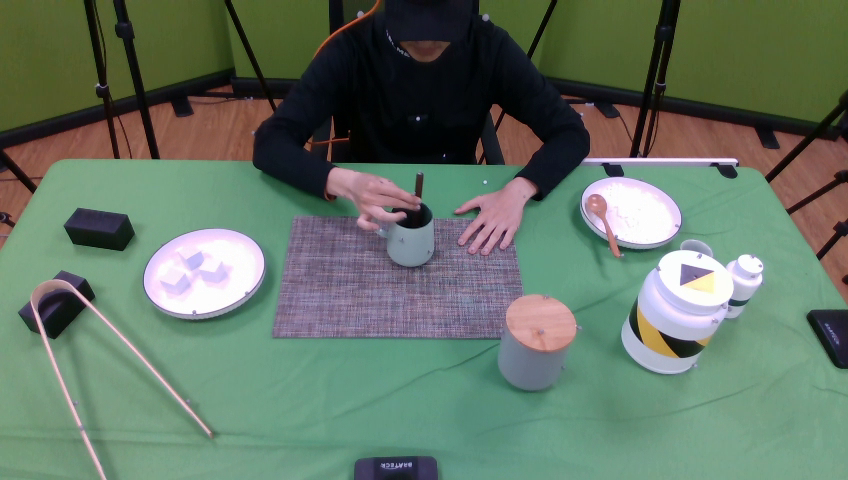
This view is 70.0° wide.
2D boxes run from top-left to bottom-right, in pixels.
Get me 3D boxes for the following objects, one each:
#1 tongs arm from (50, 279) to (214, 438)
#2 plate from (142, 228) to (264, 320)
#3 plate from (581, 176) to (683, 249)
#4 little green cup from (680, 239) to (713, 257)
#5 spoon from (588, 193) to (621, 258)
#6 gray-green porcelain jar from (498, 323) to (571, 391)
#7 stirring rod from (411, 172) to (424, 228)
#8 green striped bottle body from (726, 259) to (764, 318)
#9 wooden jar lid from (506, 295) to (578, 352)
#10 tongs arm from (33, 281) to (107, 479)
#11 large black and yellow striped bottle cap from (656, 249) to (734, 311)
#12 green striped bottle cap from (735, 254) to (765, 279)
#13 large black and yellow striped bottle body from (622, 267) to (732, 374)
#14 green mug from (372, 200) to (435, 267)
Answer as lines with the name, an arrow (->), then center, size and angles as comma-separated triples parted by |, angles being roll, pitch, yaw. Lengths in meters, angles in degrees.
tongs arm -> -0.459, 0.178, 0.949 | 0.386, 0.028, 0.028 | 37, 60, 17
plate -> -0.394, 0.064, 1.095 | 0.208, 0.039, 0.206 | 2, 46, -2
plate -> 0.430, -0.054, 1.267 | 0.209, 0.038, 0.208 | 2, 46, -2
little green cup -> 0.530, 0.033, 1.189 | 0.061, 0.039, 0.061 | 3, 48, -3
spoon -> 0.367, -0.032, 1.220 | 0.041, 0.022, 0.192 | 1, 38, -1
gray-green porcelain jar -> 0.176, 0.172, 0.971 | 0.106, 0.127, 0.105 | 2, 46, -2
stirring rod -> -0.013, -0.063, 1.121 | 0.014, 0.177, 0.006 | -8, 53, -12
green striped bottle body -> 0.563, 0.081, 1.089 | 0.063, 0.120, 0.063 | 2, 46, -2
wooden jar lid -> 0.179, 0.130, 0.925 | 0.108, 0.021, 0.107 | 2, 43, -2
tongs arm -> -0.517, 0.214, 0.910 | 0.051, 0.026, 0.383 | -28, 63, -27
large black and yellow striped bottle cap -> 0.419, 0.061, 0.938 | 0.115, 0.019, 0.114 | 2, 47, -2
green striped bottle cap -> 0.566, 0.046, 1.051 | 0.044, 0.020, 0.044 | 0, 45, 0
large black and yellow striped bottle body -> 0.415, 0.119, 0.997 | 0.131, 0.185, 0.130 | 2, 46, -2
green mug -> -0.040, -0.015, 1.146 | 0.125, 0.105, 0.092 | 16, 48, 13
